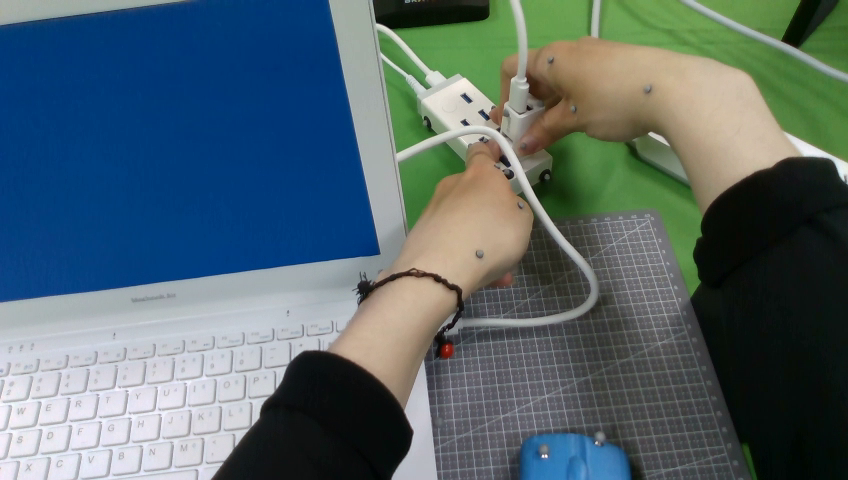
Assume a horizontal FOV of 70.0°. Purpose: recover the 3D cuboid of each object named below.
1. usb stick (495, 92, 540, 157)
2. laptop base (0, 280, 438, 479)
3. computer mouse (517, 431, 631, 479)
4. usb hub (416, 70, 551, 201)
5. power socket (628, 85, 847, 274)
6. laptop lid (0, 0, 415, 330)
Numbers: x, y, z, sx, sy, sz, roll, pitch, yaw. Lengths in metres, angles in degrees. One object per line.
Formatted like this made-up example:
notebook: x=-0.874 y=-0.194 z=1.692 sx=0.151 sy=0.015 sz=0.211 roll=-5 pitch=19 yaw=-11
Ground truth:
usb stick: x=0.070 y=-0.083 z=0.460 sx=0.027 sy=0.059 sz=0.021 roll=-35 pitch=70 yaw=-15
laptop base: x=-0.168 y=0.149 z=0.364 sx=0.354 sy=0.023 sz=0.233 roll=-7 pitch=60 yaw=0
computer mouse: x=0.079 y=0.159 z=0.324 sx=0.062 sy=0.041 sz=0.116 roll=4 pitch=52 yaw=10
usb hub: x=0.046 y=-0.089 z=0.503 sx=0.049 sy=0.025 sz=0.124 roll=-30 pitch=61 yaw=-15
power socket: x=0.266 y=-0.046 z=0.454 sx=0.225 sy=0.033 sz=0.072 roll=38 pitch=66 yaw=25
laptop lid: x=-0.191 y=-0.035 z=0.347 sx=0.357 sy=0.244 sz=0.013 roll=-8 pitch=43 yaw=1
